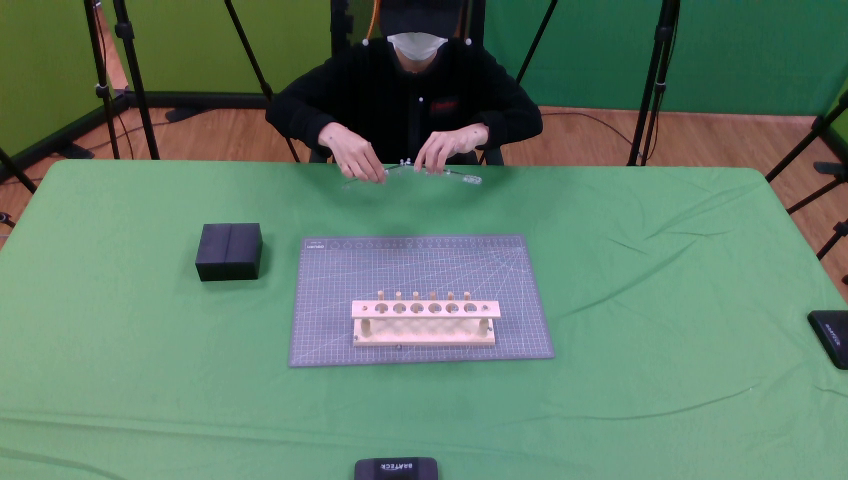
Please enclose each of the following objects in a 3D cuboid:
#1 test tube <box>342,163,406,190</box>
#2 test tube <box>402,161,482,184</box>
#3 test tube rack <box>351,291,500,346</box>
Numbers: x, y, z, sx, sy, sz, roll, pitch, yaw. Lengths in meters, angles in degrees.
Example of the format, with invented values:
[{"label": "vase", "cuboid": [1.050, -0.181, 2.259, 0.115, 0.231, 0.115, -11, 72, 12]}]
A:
[{"label": "test tube", "cuboid": [-0.099, -0.121, 1.168, 0.150, 0.017, 0.017, -15, 37, 31]}, {"label": "test tube", "cuboid": [0.034, -0.125, 1.125, 0.150, 0.017, 0.017, 11, 46, 2]}, {"label": "test tube rack", "cuboid": [0.000, 0.129, 1.026, 0.242, 0.085, 0.066, 1, 46, -4]}]
